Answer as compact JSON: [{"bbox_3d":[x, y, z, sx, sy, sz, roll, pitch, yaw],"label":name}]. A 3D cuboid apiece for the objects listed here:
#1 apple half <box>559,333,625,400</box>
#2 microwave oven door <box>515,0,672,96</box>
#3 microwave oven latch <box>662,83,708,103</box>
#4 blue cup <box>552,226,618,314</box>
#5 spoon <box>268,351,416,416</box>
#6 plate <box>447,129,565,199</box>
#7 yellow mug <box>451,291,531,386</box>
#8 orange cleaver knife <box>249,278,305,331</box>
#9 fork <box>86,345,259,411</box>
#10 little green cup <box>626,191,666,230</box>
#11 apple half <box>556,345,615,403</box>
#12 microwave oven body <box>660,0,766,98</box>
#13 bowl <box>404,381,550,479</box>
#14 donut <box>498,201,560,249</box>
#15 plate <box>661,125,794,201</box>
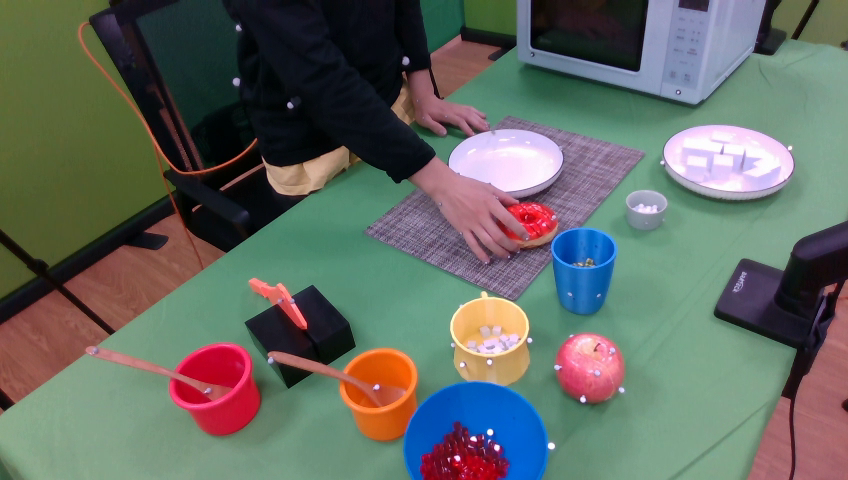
[{"bbox_3d":[0.209,0.147,0.730,0.080,0.075,0.053,26,48,38],"label":"apple half"},{"bbox_3d":[0.344,-0.455,1.260,0.353,0.245,0.039,26,51,33],"label":"microwave oven door"},{"bbox_3d":[0.518,-0.296,1.204,0.078,0.029,0.030,28,52,35],"label":"microwave oven latch"},{"bbox_3d":[0.218,0.047,0.826,0.092,0.101,0.092,-6,40,5],"label":"blue cup"},{"bbox_3d":[-0.090,0.162,0.699,0.021,0.195,0.041,-44,31,27],"label":"spoon"},{"bbox_3d":[0.147,-0.134,1.092,0.209,0.038,0.208,-4,40,4],"label":"plate"},{"bbox_3d":[0.085,0.120,0.786,0.100,0.064,0.130,-7,39,1],"label":"yellow mug"},{"bbox_3d":[-0.210,0.088,0.855,0.012,0.077,0.210,-28,15,-25],"label":"orange cleaver knife"},{"bbox_3d":[-0.298,0.166,0.728,0.209,0.018,0.028,28,45,-23],"label":"fork"},{"bbox_3d":[0.352,-0.046,0.963,0.061,0.039,0.061,-4,40,4],"label":"little green cup"},{"bbox_3d":[0.181,0.167,0.709,0.080,0.081,0.033,29,49,35],"label":"apple half"},{"bbox_3d":[0.472,-0.513,1.317,0.438,0.261,0.327,26,51,34],"label":"microwave oven body"},{"bbox_3d":[0.058,0.235,0.645,0.151,0.077,0.150,-4,39,4],"label":"bowl"},{"bbox_3d":[0.166,-0.026,0.959,0.099,0.048,0.098,-5,39,5],"label":"donut"},{"bbox_3d":[0.513,-0.128,1.035,0.207,0.039,0.206,-4,40,4],"label":"plate"}]
